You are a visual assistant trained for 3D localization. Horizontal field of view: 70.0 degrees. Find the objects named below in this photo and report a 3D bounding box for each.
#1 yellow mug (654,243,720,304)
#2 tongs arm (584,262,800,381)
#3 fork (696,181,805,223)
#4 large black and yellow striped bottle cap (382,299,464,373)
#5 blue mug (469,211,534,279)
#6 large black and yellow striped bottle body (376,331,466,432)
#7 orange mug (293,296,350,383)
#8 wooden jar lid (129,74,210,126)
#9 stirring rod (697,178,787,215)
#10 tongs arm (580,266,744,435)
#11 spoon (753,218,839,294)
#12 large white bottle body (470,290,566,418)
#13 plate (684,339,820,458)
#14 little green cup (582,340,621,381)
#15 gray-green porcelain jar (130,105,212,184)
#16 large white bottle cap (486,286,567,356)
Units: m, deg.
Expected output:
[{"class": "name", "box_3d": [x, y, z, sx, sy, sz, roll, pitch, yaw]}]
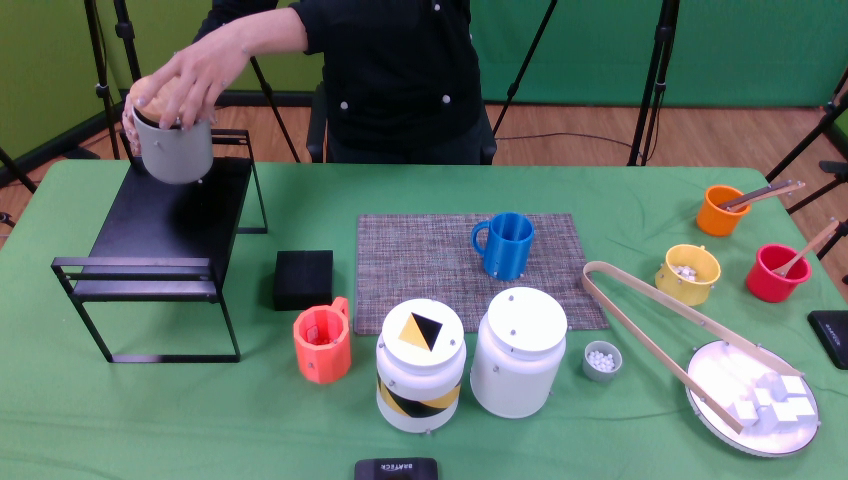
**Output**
[{"class": "yellow mug", "box_3d": [0.504, 0.054, 1.154, 0.099, 0.064, 0.130, 28, 50, 22]}, {"class": "tongs arm", "box_3d": [0.452, 0.137, 1.064, 0.051, 0.027, 0.382, -34, 50, -27]}, {"class": "fork", "box_3d": [0.659, -0.077, 1.232, 0.207, 0.019, 0.028, -26, 35, 34]}, {"class": "large black and yellow striped bottle cap", "box_3d": [-0.002, 0.132, 0.843, 0.115, 0.019, 0.114, 2, 46, -1]}, {"class": "blue mug", "box_3d": [0.141, 0.005, 1.140, 0.116, 0.106, 0.082, 18, 48, 13]}, {"class": "large black and yellow striped bottle body", "box_3d": [-0.007, 0.189, 0.905, 0.131, 0.185, 0.130, 2, 47, -2]}, {"class": "orange mug", "box_3d": [-0.157, 0.154, 0.985, 0.083, 0.101, 0.125, 17, 52, 11]}, {"class": "wooden jar lid", "box_3d": [-0.366, -0.201, 0.875, 0.108, 0.021, 0.107, 12, 45, -12]}, {"class": "stirring rod", "box_3d": [0.650, -0.088, 1.246, 0.006, 0.176, 0.014, 29, 50, -39]}, {"class": "tongs arm", "box_3d": [0.384, 0.174, 1.028, 0.028, 0.028, 0.385, -25, 46, -14]}, {"class": "spoon", "box_3d": [0.700, 0.031, 1.138, 0.194, 0.022, 0.041, -47, 55, 14]}, {"class": "large white bottle body", "box_3d": [0.143, 0.173, 0.930, 0.131, 0.185, 0.130, 2, 46, -2]}, {"class": "plate", "box_3d": [0.523, 0.256, 0.983, 0.208, 0.039, 0.206, 2, 46, -2]}, {"class": "little green cup", "box_3d": [0.295, 0.204, 1.014, 0.061, 0.039, 0.061, 2, 45, -2]}, {"class": "gray-green porcelain jar", "box_3d": [-0.382, -0.157, 0.929, 0.106, 0.127, 0.105, 7, 52, -9]}, {"class": "large white bottle cap", "box_3d": [0.147, 0.114, 0.869, 0.115, 0.018, 0.114, 3, 46, -3]}]
